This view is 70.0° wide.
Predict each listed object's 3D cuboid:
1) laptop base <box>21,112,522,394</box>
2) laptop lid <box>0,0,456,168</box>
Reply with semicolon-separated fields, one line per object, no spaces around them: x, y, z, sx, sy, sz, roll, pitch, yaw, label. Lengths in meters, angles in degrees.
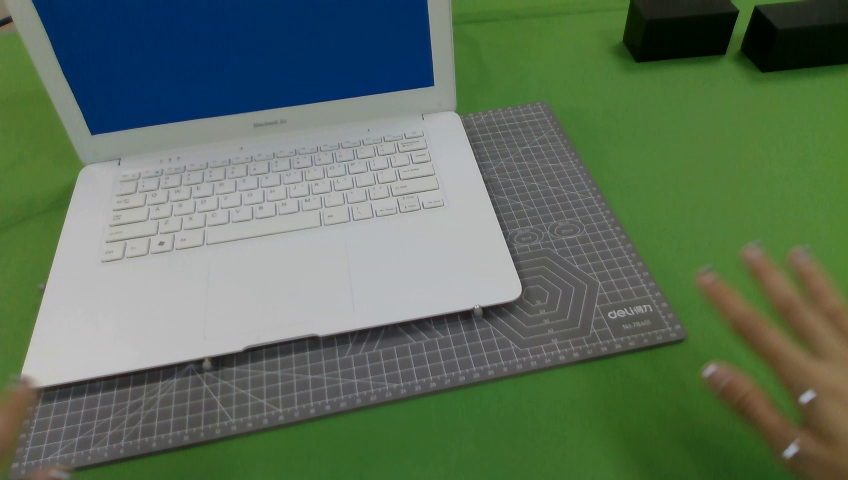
-0.120;-0.006;0.501;0.355;0.023;0.233;-10;51;-6;laptop base
-0.152;-0.185;0.508;0.357;0.244;0.013;-11;37;-5;laptop lid
